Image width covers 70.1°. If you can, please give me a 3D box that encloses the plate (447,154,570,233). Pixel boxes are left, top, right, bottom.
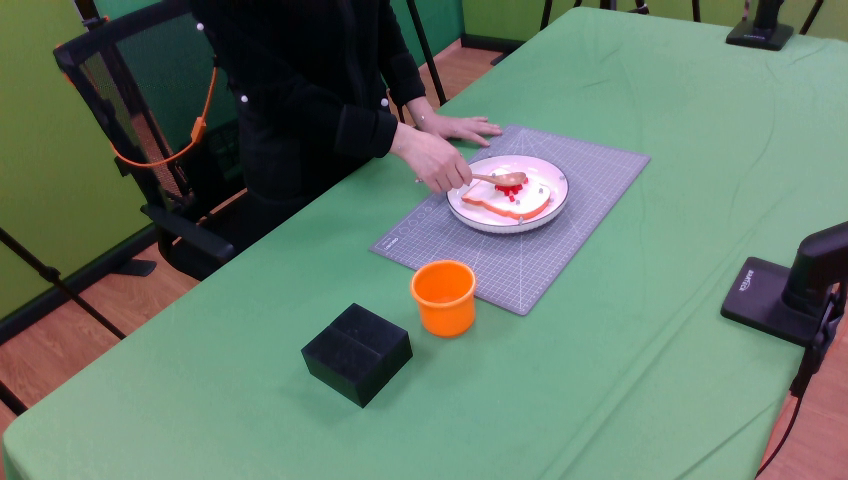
[{"bbox_3d":[0.143,-0.076,1.032,0.209,0.038,0.208,-5,40,5],"label":"plate"}]

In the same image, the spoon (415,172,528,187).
[{"bbox_3d":[0.080,-0.105,1.010,0.194,0.021,0.041,1,39,-13],"label":"spoon"}]

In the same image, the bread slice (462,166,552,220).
[{"bbox_3d":[0.150,-0.079,1.036,0.133,0.018,0.107,22,50,31],"label":"bread slice"}]
